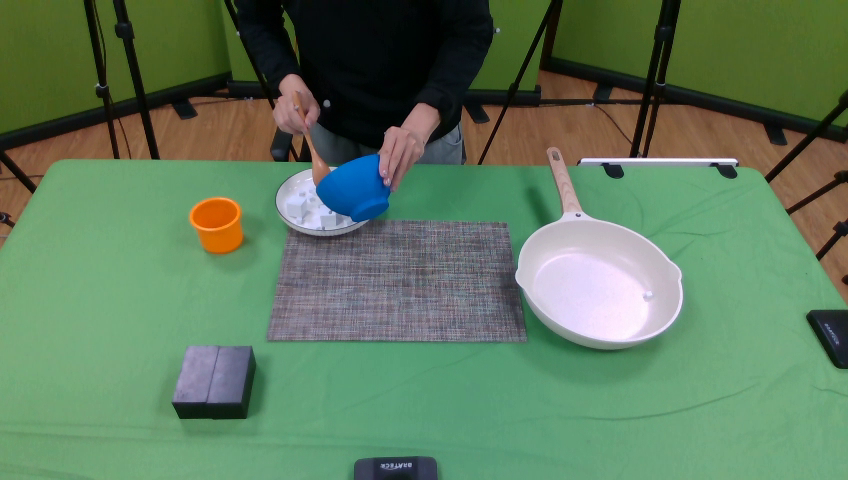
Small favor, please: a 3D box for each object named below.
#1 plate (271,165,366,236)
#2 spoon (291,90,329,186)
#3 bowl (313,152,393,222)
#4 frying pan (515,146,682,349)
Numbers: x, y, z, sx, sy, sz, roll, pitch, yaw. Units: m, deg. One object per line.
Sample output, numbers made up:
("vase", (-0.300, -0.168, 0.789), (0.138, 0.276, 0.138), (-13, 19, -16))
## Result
("plate", (-0.204, -0.076, 1.240), (0.208, 0.039, 0.206), (3, 44, -2))
("spoon", (-0.221, -0.188, 1.154), (0.041, 0.194, 0.021), (-24, 19, -22))
("bowl", (-0.115, -0.084, 1.091), (0.151, 0.151, 0.076), (-21, 77, -23))
("frying pan", (0.303, -0.004, 1.168), (0.307, 0.103, 0.484), (-2, 55, -7))
